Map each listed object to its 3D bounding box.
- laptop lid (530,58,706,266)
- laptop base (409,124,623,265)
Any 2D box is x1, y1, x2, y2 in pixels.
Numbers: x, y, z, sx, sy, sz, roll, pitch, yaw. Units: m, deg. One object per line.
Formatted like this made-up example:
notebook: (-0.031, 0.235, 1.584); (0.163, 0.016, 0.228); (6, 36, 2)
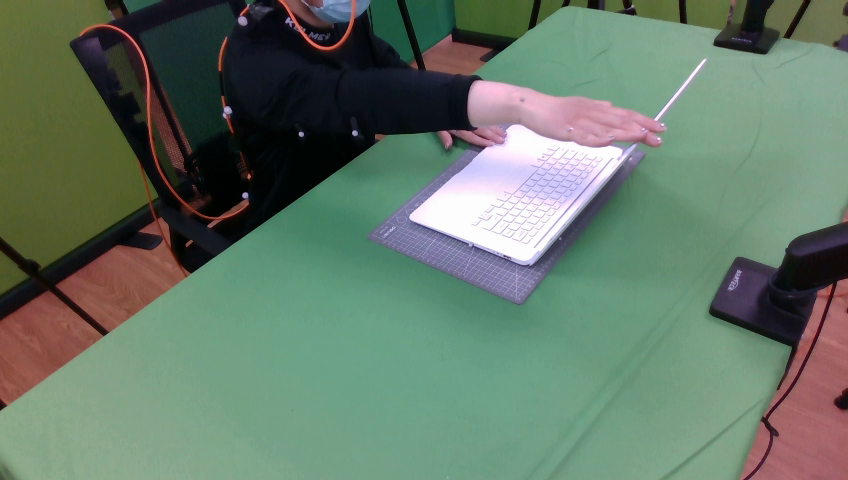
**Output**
laptop lid: (0.293, -0.118, 0.905); (0.013, 0.241, 0.357); (40, 53, 9)
laptop base: (0.168, -0.095, 1.057); (0.233, 0.023, 0.355); (20, 47, 32)
